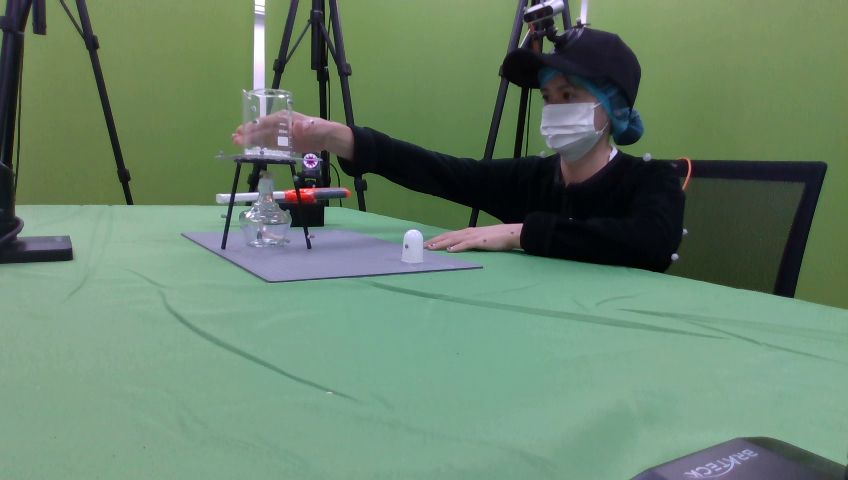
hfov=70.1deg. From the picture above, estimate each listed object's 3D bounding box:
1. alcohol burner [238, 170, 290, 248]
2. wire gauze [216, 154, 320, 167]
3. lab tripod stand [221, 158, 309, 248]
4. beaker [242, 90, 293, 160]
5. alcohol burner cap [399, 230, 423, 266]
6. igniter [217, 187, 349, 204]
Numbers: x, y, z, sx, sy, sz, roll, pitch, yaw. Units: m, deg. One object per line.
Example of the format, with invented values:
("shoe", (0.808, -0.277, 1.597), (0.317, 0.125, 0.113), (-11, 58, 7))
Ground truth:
("alcohol burner", (-0.244, -0.048, 0.927), (0.078, 0.119, 0.078), (3, 5, 0))
("wire gauze", (-0.236, -0.121, 0.906), (0.126, 0.011, 0.121), (0, 8, -33))
("lab tripod stand", (-0.244, -0.057, 0.917), (0.148, 0.131, 0.148), (1, 7, 0))
("beaker", (-0.235, -0.169, 0.900), (0.074, 0.100, 0.084), (4, 7, 23))
("alcohol burner cap", (-0.017, 0.010, 0.837), (0.034, 0.048, 0.034), (3, 7, 0))
("igniter", (-0.285, -0.093, 1.256), (0.278, 0.025, 0.057), (-6, 12, -34))
